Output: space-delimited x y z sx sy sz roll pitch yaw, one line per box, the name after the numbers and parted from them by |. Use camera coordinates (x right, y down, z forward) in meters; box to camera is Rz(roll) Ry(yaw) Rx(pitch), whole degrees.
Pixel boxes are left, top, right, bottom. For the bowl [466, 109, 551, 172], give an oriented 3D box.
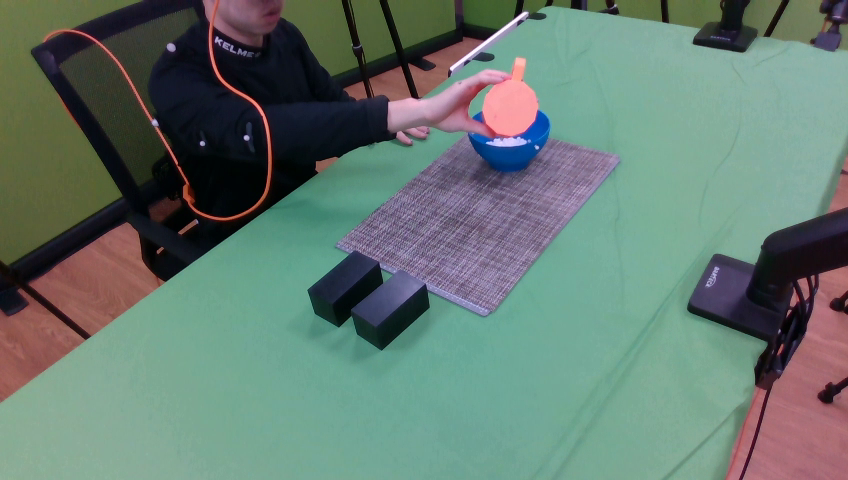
0.155 -0.177 1.105 0.151 0.077 0.150 -4 40 4 | bowl

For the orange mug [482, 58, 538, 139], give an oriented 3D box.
0.142 -0.229 0.990 0.083 0.126 0.101 12 4 2 | orange mug
